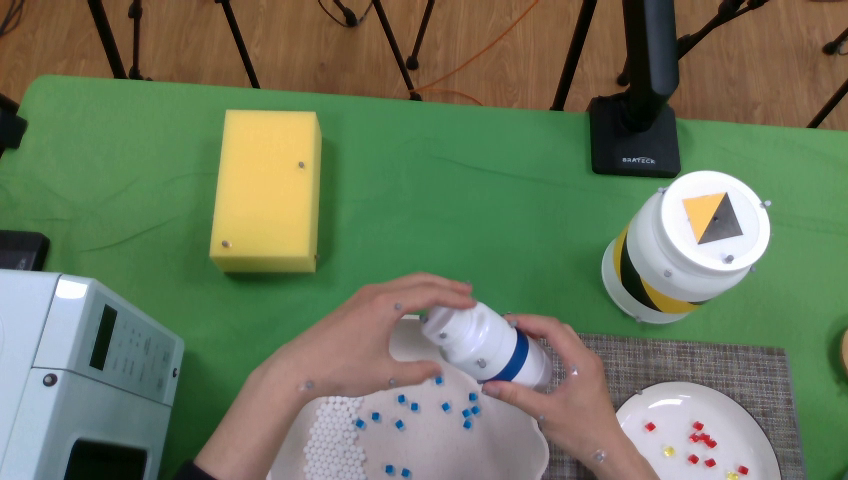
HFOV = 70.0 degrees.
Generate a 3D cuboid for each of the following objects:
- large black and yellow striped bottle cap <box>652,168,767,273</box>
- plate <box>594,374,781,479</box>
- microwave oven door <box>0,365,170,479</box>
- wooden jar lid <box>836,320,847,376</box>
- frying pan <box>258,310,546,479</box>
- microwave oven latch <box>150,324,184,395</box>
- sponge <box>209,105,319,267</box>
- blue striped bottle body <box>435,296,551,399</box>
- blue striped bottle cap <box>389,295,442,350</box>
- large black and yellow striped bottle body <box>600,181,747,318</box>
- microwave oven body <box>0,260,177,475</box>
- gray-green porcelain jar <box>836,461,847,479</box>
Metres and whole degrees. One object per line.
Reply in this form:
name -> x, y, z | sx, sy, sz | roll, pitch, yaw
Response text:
large black and yellow striped bottle cap -> 0.298, -0.022, 0.632 | 0.115, 0.019, 0.114 | 1, 68, -2
plate -> 0.294, 0.259, 0.691 | 0.209, 0.038, 0.207 | 1, 69, -2
microwave oven door -> -0.314, 0.303, 0.523 | 0.039, 0.245, 0.353 | 4, 69, -1
wooden jar lid -> 0.570, 0.144, 0.760 | 0.108, 0.021, 0.107 | 1, 71, -2
frying pan -> -0.029, 0.315, 0.622 | 0.307, 0.103, 0.483 | 3, 61, 1
microwave oven latch -> -0.299, 0.136, 0.696 | 0.030, 0.029, 0.078 | 7, 70, 0
sponge -> -0.202, -0.071, 0.786 | 0.118, 0.061, 0.205 | -1, 70, -3
blue striped bottle body -> 0.057, 0.096, 0.558 | 0.122, 0.063, 0.063 | 35, 66, -30
blue striped bottle cap -> -0.007, 0.070, 0.510 | 0.044, 0.021, 0.044 | -1, 55, 1
large black and yellow striped bottle body -> 0.295, 0.009, 0.713 | 0.131, 0.185, 0.130 | 1, 68, -2
microwave oven body -> -0.456, 0.254, 0.541 | 0.326, 0.261, 0.438 | 5, 70, -1
gray-green porcelain jar -> 0.524, 0.280, 0.650 | 0.106, 0.127, 0.105 | 1, 69, -2
